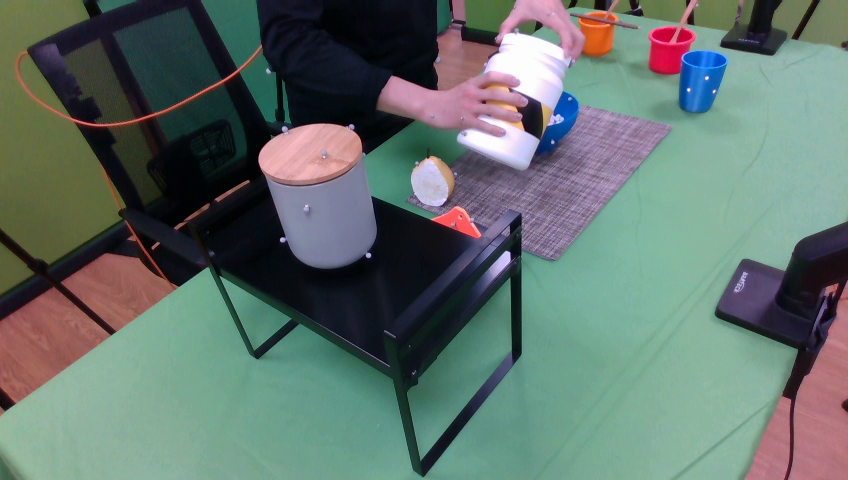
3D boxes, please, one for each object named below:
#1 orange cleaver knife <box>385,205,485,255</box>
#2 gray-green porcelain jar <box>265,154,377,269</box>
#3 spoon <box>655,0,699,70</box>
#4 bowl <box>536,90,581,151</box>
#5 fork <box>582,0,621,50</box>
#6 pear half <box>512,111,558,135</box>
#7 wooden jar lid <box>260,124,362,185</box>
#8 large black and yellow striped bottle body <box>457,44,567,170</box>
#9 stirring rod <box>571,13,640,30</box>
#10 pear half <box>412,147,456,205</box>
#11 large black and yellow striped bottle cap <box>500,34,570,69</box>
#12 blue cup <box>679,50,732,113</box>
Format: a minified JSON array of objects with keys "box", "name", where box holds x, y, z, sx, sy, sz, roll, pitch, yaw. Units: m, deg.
[{"box":[0.012,-0.010,0.942,0.012,0.077,0.210,-36,19,-35],"name":"orange cleaver knife"},{"box":[-0.112,-0.039,0.685,0.106,0.127,0.105,-4,40,4],"name":"gray-green porcelain jar"},{"box":[0.567,-0.463,1.337,0.041,0.022,0.193,30,96,38],"name":"spoon"},{"box":[0.220,-0.223,1.155,0.151,0.077,0.150,-4,40,4],"name":"bowl"},{"box":[0.446,-0.539,1.438,0.207,0.019,0.028,-57,36,12],"name":"fork"},{"box":[0.212,-0.227,1.152,0.088,0.031,0.070,7,44,10],"name":"pear half"},{"box":[-0.119,-0.088,0.645,0.108,0.021,0.108,-4,40,4],"name":"wooden jar lid"},{"box":[0.146,-0.222,0.989,0.131,0.184,0.130,23,8,-3],"name":"large black and yellow striped bottle body"},{"box":[0.419,-0.508,1.404,0.174,0.006,0.014,29,55,35],"name":"stirring rod"},{"box":[0.019,-0.120,1.042,0.076,0.110,0.056,11,43,16],"name":"pear half"},{"box":[0.180,-0.303,0.978,0.115,0.019,0.115,19,8,-2],"name":"large black and yellow striped bottle cap"},{"box":[0.546,-0.309,1.193,0.092,0.100,0.092,-4,39,4],"name":"blue cup"}]
